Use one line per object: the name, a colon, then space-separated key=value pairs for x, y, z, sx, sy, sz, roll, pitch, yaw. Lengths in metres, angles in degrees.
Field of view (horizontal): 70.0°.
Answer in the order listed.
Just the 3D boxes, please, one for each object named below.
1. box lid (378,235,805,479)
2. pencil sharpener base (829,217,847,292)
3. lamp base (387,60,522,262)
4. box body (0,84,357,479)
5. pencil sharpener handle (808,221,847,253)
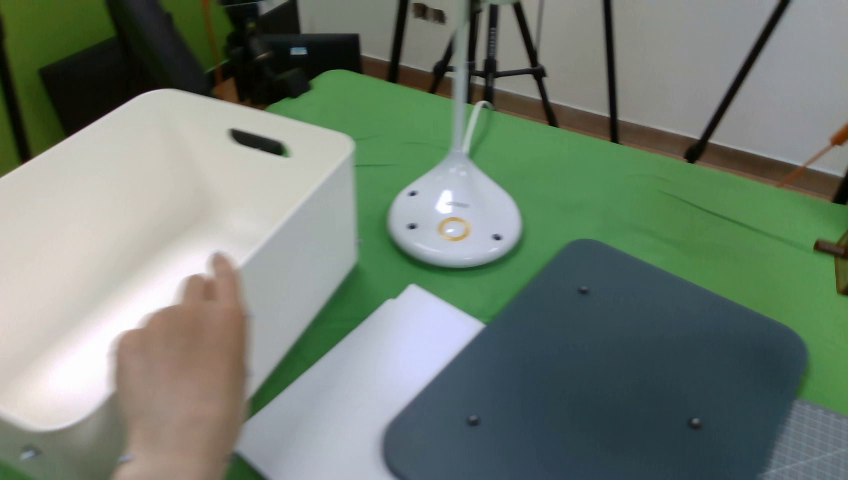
box lid: x=0.164 y=0.136 z=0.552 sx=0.261 sy=0.015 sz=0.371 roll=28 pitch=48 yaw=28
pencil sharpener base: x=0.375 y=-0.003 z=0.470 sx=0.076 sy=0.108 sz=0.061 roll=17 pitch=52 yaw=11
lamp base: x=0.037 y=-0.096 z=0.683 sx=0.161 sy=0.182 sz=0.177 roll=-1 pitch=39 yaw=-2
box body: x=-0.247 y=0.026 z=0.552 sx=0.253 sy=0.162 sz=0.362 roll=18 pitch=44 yaw=17
pencil sharpener handle: x=0.326 y=-0.022 z=0.465 sx=0.030 sy=0.068 sz=0.036 roll=17 pitch=31 yaw=11
